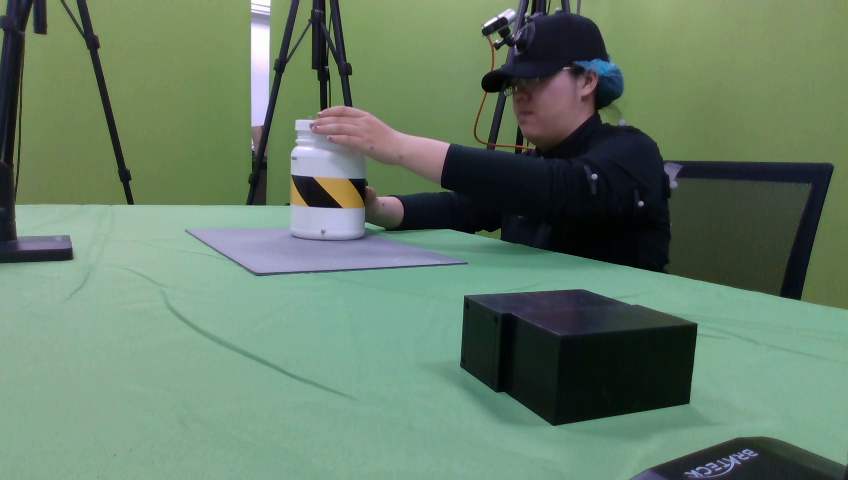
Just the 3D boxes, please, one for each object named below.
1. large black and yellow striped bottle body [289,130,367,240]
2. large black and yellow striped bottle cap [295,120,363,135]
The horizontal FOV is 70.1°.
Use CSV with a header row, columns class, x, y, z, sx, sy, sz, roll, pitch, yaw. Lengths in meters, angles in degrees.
class,x,y,z,sx,sy,sz,roll,pitch,yaw
large black and yellow striped bottle body,-0.166,-0.098,1.052,0.131,0.184,0.130,3,8,0
large black and yellow striped bottle cap,-0.163,-0.192,1.037,0.115,0.019,0.115,4,6,0
